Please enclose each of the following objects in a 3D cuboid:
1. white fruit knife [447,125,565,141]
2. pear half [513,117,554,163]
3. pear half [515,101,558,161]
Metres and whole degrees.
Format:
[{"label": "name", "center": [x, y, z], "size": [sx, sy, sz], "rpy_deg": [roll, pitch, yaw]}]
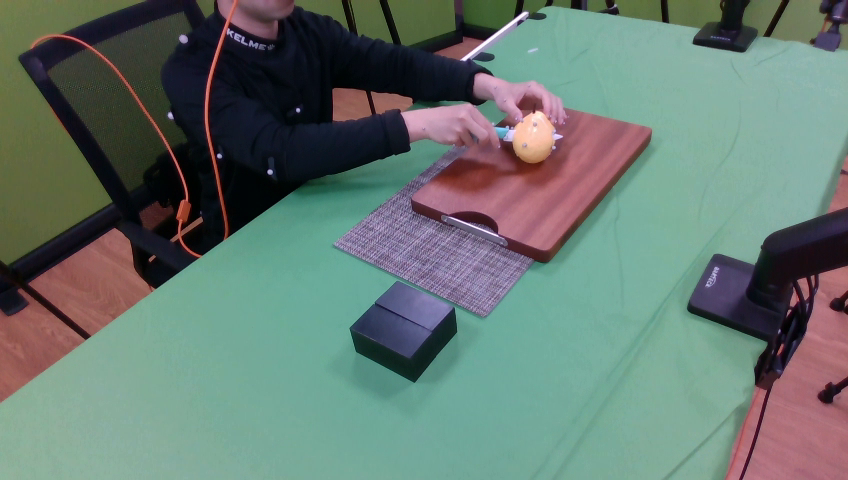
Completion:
[{"label": "white fruit knife", "center": [0.141, -0.185, 1.057], "size": [0.207, 0.027, 0.016], "rpy_deg": [5, 40, 14]}, {"label": "pear half", "center": [0.187, -0.166, 1.040], "size": [0.070, 0.088, 0.031], "rpy_deg": [4, 44, 8]}, {"label": "pear half", "center": [0.196, -0.197, 1.059], "size": [0.076, 0.110, 0.056], "rpy_deg": [1, 39, 10]}]
